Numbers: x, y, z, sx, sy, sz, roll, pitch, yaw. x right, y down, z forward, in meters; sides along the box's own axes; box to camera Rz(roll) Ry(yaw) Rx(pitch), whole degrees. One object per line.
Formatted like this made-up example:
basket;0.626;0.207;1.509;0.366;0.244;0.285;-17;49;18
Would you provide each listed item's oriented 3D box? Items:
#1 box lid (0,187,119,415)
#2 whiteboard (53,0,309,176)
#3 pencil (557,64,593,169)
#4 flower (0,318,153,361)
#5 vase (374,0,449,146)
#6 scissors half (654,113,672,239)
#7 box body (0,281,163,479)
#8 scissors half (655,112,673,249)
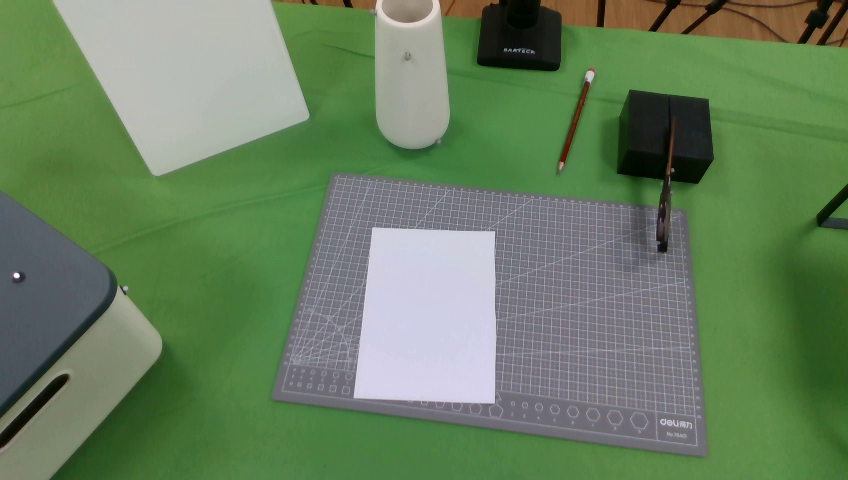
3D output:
box lid;-0.485;0.041;0.534;0.369;0.015;0.262;30;65;15
whiteboard;-0.305;-0.275;0.751;0.217;0.308;0.142;-24;44;-12
pencil;0.205;-0.171;0.824;0.012;0.012;0.193;17;63;10
flower;-0.471;0.115;0.657;0.361;0.038;0.044;-3;91;5
vase;-0.018;-0.207;0.737;0.098;0.201;0.097;-1;59;1
scissors half;0.285;-0.081;0.713;0.013;0.040;0.174;5;61;24
box body;-0.482;0.079;0.598;0.362;0.161;0.253;29;65;16
scissors half;0.293;-0.073;0.730;0.012;0.040;0.174;3;79;29
